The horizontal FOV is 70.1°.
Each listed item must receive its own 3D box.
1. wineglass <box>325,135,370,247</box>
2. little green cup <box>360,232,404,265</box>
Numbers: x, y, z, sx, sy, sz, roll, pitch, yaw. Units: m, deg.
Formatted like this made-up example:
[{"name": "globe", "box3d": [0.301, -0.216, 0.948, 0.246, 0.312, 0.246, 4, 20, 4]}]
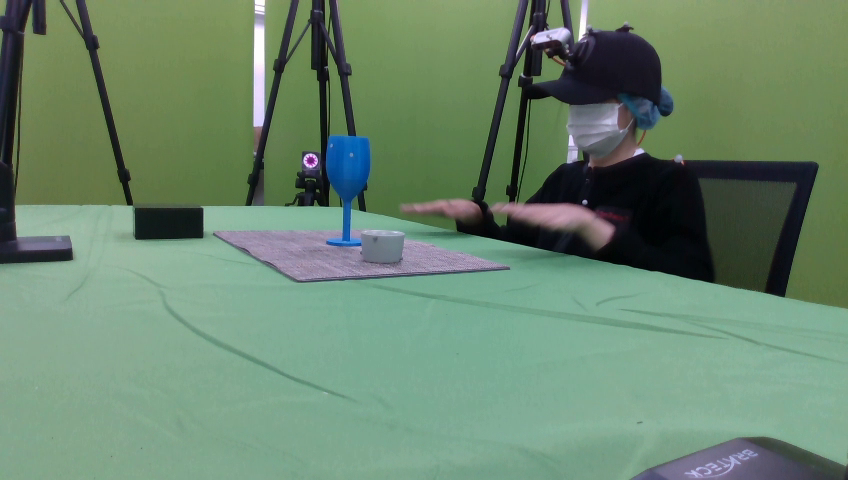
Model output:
[{"name": "wineglass", "box3d": [-0.124, -0.078, 0.964, 0.074, 0.172, 0.073, 3, 7, 0]}, {"name": "little green cup", "box3d": [-0.058, 0.011, 0.821, 0.061, 0.038, 0.061, 2, 8, 0]}]
